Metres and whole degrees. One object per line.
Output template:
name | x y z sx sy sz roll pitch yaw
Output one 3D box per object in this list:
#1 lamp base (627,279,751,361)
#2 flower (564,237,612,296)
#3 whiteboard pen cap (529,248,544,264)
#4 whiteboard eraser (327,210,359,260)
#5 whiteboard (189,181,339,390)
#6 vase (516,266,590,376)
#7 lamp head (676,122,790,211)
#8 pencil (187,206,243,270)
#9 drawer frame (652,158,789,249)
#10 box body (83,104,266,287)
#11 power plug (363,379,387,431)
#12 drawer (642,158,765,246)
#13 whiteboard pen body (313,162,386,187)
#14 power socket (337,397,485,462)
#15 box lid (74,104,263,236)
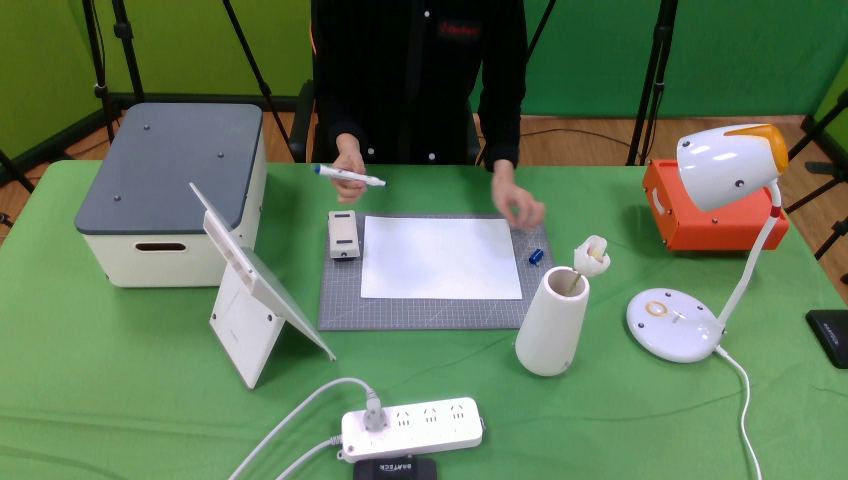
lamp base | 0.459 0.100 1.027 0.178 0.181 0.160 27 51 17
flower | 0.206 0.088 0.892 0.038 0.363 0.044 -16 67 -9
whiteboard pen cap | 0.219 0.032 1.183 0.018 0.018 0.033 31 51 23
whiteboard eraser | -0.158 -0.009 1.177 0.055 0.042 0.112 -6 47 -7
whiteboard | -0.292 0.096 0.929 0.144 0.307 0.216 -37 57 -10
vase | 0.208 0.132 0.964 0.098 0.201 0.097 3 46 -3
lamp head | 0.423 -0.104 0.819 0.122 0.113 0.112 -13 33 40
pencil | -0.401 -0.008 1.176 0.012 0.012 0.193 15 44 10
drawer frame | 0.571 -0.075 1.214 0.214 0.083 0.200 0 45 -1
box body | -0.447 -0.088 1.150 0.254 0.161 0.361 -1 46 -5
power plug | -0.072 0.252 0.910 0.035 0.053 0.072 3 45 -1
drawer | 0.566 -0.076 1.211 0.212 0.073 0.193 2 45 -2
whiteboard pen body | -0.127 -0.111 1.060 0.141 0.017 0.017 13 40 -31
power socket | -0.018 0.285 0.915 0.227 0.033 0.071 -5 46 -8
box lid | -0.443 -0.139 1.095 0.263 0.015 0.369 -1 45 -5
